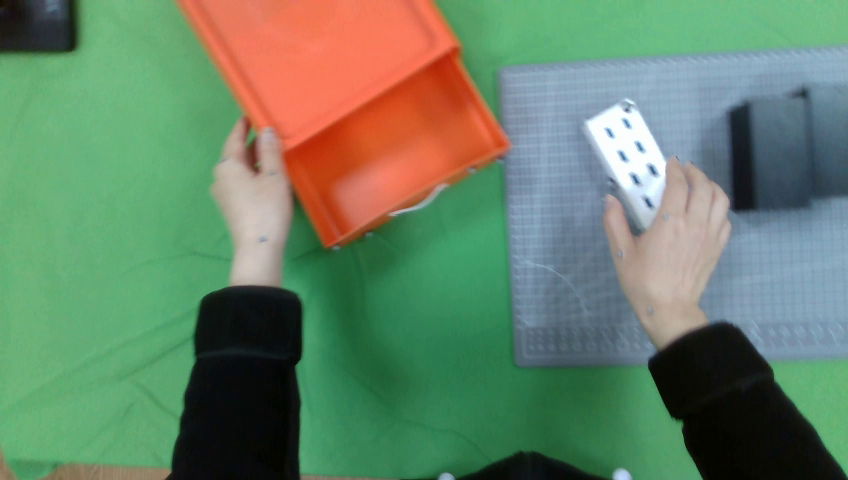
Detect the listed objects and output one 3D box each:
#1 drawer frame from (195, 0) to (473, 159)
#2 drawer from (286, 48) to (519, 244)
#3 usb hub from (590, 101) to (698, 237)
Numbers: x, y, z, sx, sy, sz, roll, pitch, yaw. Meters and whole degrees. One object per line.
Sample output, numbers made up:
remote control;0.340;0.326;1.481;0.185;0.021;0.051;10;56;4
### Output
drawer frame;-0.092;-0.214;0.575;0.201;0.083;0.213;-30;89;4
drawer;-0.045;-0.130;0.579;0.194;0.073;0.211;-28;88;4
usb hub;0.214;-0.069;0.590;0.049;0.025;0.125;-28;90;2
